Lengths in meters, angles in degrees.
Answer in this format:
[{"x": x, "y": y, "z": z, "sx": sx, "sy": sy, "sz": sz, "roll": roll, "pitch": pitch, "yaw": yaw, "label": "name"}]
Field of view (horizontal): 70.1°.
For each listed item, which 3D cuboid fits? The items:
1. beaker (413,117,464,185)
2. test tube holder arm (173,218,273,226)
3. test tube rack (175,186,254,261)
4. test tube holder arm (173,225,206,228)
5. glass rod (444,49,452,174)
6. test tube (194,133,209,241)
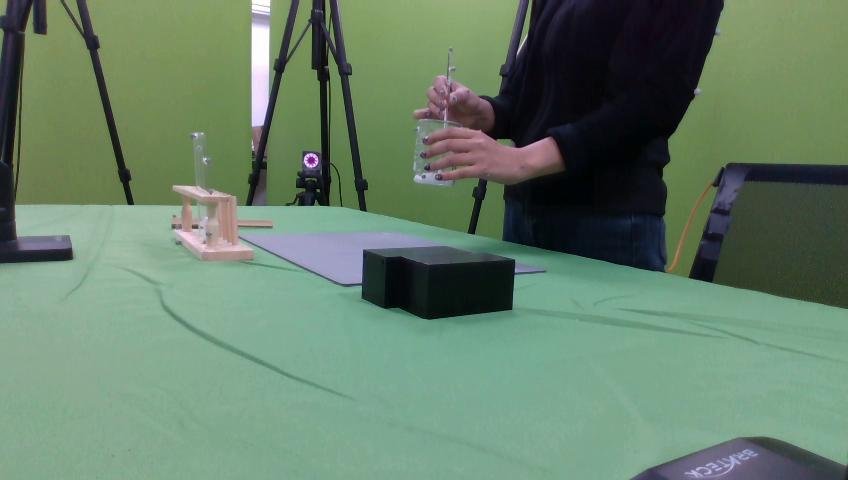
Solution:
[{"x": 0.020, "y": -0.141, "z": 0.969, "sx": 0.074, "sy": 0.100, "sz": 0.084, "roll": 4, "pitch": 4, "yaw": -13, "label": "beaker"}, {"x": -0.371, "y": -0.033, "z": 1.128, "sx": 0.179, "sy": 0.015, "sz": 0.013, "roll": -1, "pitch": -22, "yaw": -26, "label": "test tube holder arm"}, {"x": -0.314, "y": -0.031, "z": 0.889, "sx": 0.067, "sy": 0.085, "sz": 0.241, "roll": -2, "pitch": 8, "yaw": -30, "label": "test tube rack"}, {"x": -0.415, "y": -0.030, "z": 1.113, "sx": 0.088, "sy": 0.015, "sz": 0.010, "roll": -1, "pitch": -22, "yaw": -25, "label": "test tube holder arm"}, {"x": 0.038, "y": -0.203, "z": 0.953, "sx": 0.008, "sy": 0.199, "sz": 0.008, "roll": 2, "pitch": -3, "yaw": 0, "label": "glass rod"}, {"x": -0.307, "y": -0.074, "z": 0.842, "sx": 0.017, "sy": 0.150, "sz": 0.017, "roll": -3, "pitch": 2, "yaw": 0, "label": "test tube"}]
